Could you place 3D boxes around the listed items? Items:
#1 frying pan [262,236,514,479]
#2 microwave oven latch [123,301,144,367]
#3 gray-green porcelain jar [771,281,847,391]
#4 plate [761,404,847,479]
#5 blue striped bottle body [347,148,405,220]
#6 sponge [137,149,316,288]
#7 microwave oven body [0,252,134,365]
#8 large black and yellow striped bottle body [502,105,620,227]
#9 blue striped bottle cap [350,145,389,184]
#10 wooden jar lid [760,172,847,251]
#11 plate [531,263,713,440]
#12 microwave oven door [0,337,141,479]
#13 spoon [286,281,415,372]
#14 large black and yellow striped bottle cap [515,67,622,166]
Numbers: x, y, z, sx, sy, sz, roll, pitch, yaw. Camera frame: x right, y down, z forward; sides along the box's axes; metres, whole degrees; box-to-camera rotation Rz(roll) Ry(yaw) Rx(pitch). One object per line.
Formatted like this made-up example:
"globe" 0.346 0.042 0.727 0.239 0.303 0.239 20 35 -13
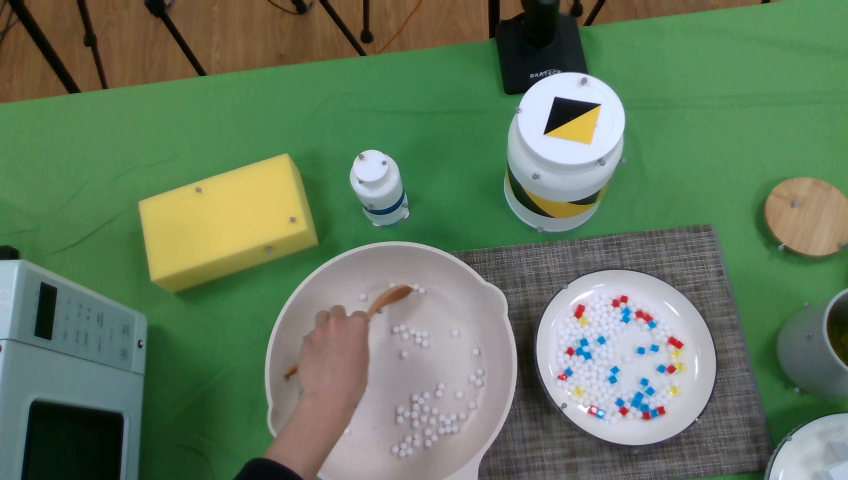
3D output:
"frying pan" 0.007 0.221 0.678 0.307 0.103 0.483 -29 63 -4
"microwave oven latch" -0.371 0.118 0.762 0.030 0.030 0.078 -5 71 3
"gray-green porcelain jar" 0.459 0.110 0.671 0.106 0.127 0.105 -1 71 4
"plate" 0.471 0.285 0.658 0.207 0.039 0.206 -1 71 4
"blue striped bottle body" -0.061 -0.075 0.778 0.063 0.121 0.062 -1 71 4
"sponge" -0.262 -0.028 0.810 0.207 0.061 0.117 -19 71 -3
"microwave oven body" -0.512 0.267 0.620 0.326 0.262 0.438 -6 71 2
"large black and yellow striped bottle body" 0.163 -0.106 0.738 0.131 0.185 0.130 -1 70 4
"blue striped bottle cap" -0.066 -0.091 0.729 0.044 0.021 0.044 -2 68 6
"wooden jar lid" 0.485 -0.035 0.774 0.108 0.021 0.107 -1 73 5
"plate" 0.232 0.130 0.725 0.209 0.038 0.207 -2 71 5
"microwave oven door" -0.365 0.290 0.595 0.039 0.245 0.353 -6 70 2
"spoon" -0.082 0.100 0.718 0.021 0.042 0.193 45 54 11
"large black and yellow striped bottle cap" 0.156 -0.135 0.659 0.115 0.019 0.114 -1 73 4
